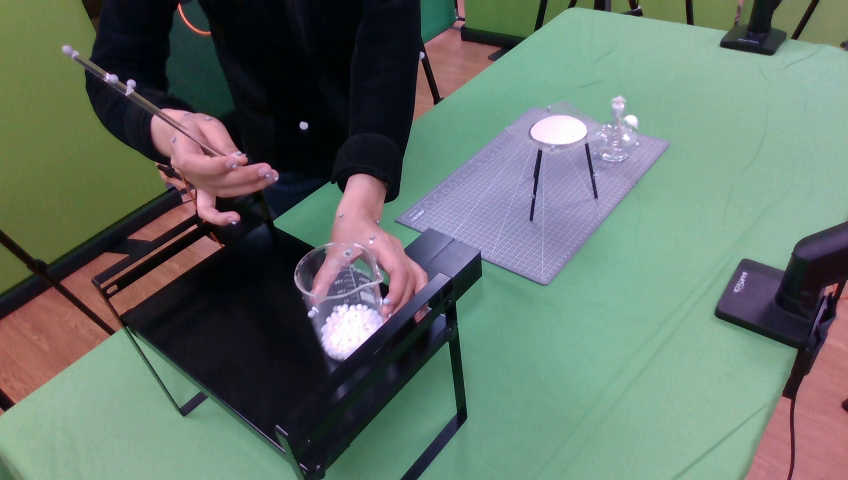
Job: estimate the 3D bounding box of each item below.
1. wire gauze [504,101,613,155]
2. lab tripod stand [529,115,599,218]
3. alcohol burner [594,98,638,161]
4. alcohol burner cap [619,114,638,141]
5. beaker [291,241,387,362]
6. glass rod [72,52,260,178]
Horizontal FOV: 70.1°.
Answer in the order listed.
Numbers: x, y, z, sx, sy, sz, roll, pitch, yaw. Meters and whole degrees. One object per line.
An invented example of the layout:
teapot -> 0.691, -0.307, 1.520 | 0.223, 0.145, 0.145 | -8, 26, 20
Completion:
wire gauze -> 0.211, -0.177, 0.955 | 0.125, 0.011, 0.120 | -24, 44, -18
lab tripod stand -> 0.218, -0.124, 0.995 | 0.148, 0.132, 0.147 | -4, 43, 4
alcohol burner -> 0.345, -0.203, 1.084 | 0.078, 0.119, 0.077 | -5, 43, 5
alcohol burner cap -> 0.389, -0.215, 1.145 | 0.034, 0.048, 0.033 | -4, 40, 4
beaker -> -0.073, 0.062, 0.577 | 0.083, 0.101, 0.074 | 7, 45, 15
glass rod -> -0.206, -0.098, 0.514 | 0.008, 0.201, 0.008 | -10, 65, 24
